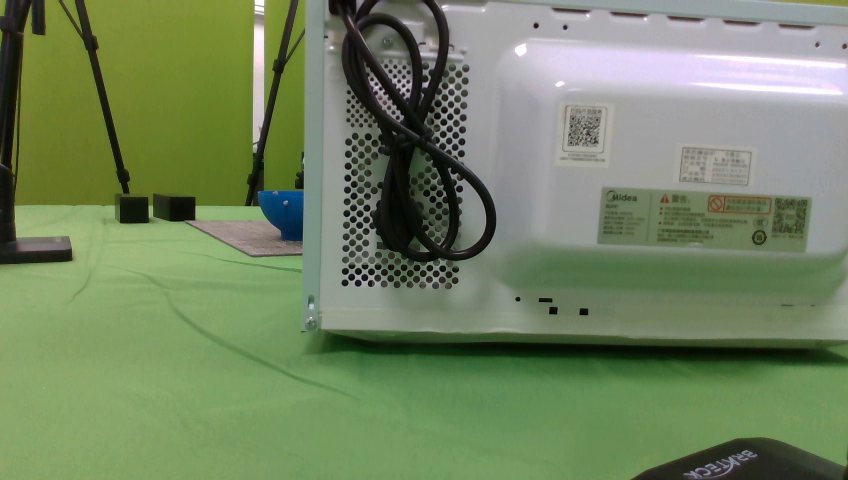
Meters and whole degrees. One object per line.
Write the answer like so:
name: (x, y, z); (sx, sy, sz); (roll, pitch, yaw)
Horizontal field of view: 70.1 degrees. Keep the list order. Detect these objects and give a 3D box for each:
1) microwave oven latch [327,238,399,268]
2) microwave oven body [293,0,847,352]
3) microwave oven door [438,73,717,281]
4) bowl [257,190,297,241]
microwave oven latch: (-0.069, 0.015, 0.694); (0.079, 0.029, 0.030); (3, 7, -3)
microwave oven body: (0.122, -0.055, 0.550); (0.442, 0.260, 0.325); (3, 7, -5)
microwave oven door: (0.184, -0.090, 0.801); (0.354, 0.243, 0.039); (7, 7, 33)
bowl: (-0.206, -0.041, 1.027); (0.151, 0.077, 0.151); (2, 8, 0)
